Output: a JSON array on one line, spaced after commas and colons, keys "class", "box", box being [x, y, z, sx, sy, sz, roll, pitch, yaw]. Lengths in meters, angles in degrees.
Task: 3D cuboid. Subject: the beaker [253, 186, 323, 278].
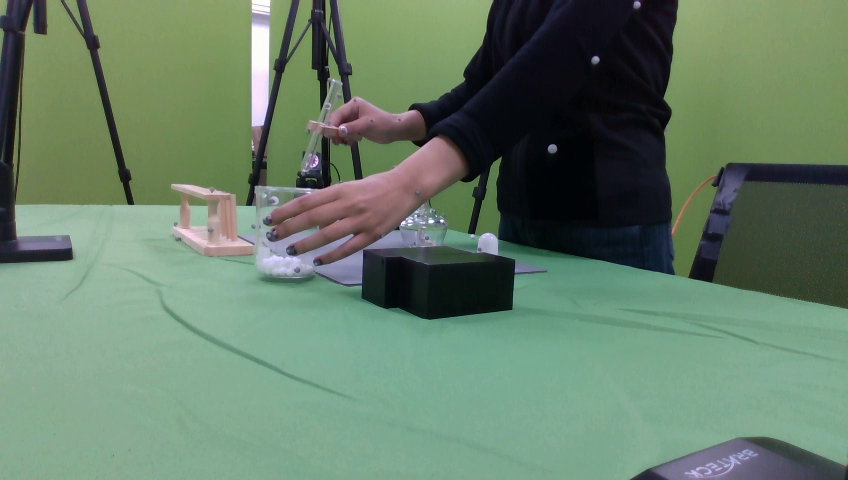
[{"class": "beaker", "box": [-0.158, -0.010, 0.687, 0.084, 0.100, 0.074, 4, 5, 20]}]

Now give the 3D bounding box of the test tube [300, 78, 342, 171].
[{"class": "test tube", "box": [-0.158, -0.173, 0.917, 0.017, 0.150, 0.017, 22, 17, -7]}]

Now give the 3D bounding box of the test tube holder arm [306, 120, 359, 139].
[{"class": "test tube holder arm", "box": [-0.145, -0.179, 0.985, 0.013, 0.015, 0.179, 34, 13, 10]}]

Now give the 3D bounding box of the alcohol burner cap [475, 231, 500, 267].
[{"class": "alcohol burner cap", "box": [0.088, 0.012, 0.830, 0.034, 0.048, 0.034, 2, 6, 0]}]

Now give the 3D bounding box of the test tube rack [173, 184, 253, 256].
[{"class": "test tube rack", "box": [-0.329, -0.036, 0.927, 0.067, 0.085, 0.241, -2, 9, -32]}]

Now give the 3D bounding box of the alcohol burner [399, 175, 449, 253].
[{"class": "alcohol burner", "box": [-0.001, -0.041, 0.937, 0.078, 0.119, 0.078, 0, 7, 0]}]

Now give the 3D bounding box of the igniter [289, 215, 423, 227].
[{"class": "igniter", "box": [-0.133, -0.038, 1.231, 0.278, 0.025, 0.057, -1, -2, -25]}]

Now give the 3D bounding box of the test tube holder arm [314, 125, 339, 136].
[{"class": "test tube holder arm", "box": [-0.150, -0.171, 0.941, 0.010, 0.015, 0.088, 32, 13, 3]}]
